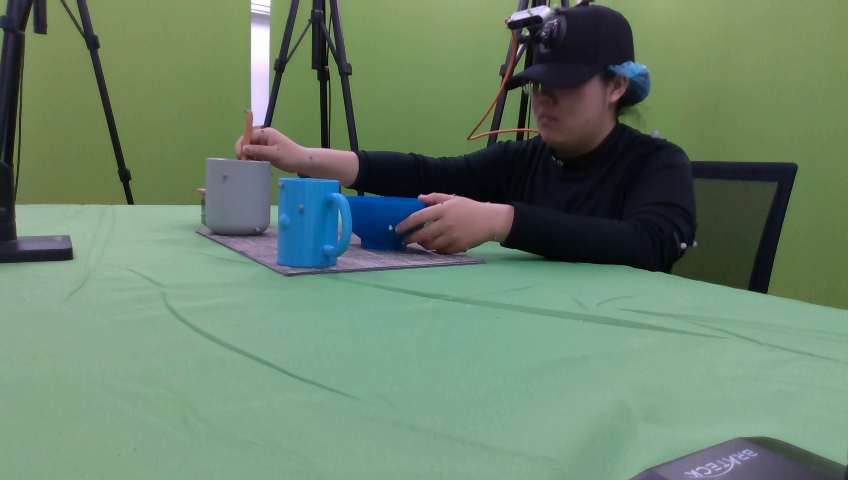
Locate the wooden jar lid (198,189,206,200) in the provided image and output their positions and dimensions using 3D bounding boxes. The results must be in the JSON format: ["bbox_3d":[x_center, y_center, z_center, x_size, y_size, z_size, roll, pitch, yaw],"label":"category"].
[{"bbox_3d":[-0.382,-0.088,1.175,0.108,0.020,0.108,3,8,0],"label":"wooden jar lid"}]

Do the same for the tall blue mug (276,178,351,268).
[{"bbox_3d":[-0.134,-0.022,0.766,0.107,0.108,0.078,4,6,12],"label":"tall blue mug"}]

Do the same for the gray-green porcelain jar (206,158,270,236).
[{"bbox_3d":[-0.316,-0.074,1.031,0.106,0.126,0.106,3,7,0],"label":"gray-green porcelain jar"}]

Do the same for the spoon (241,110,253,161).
[{"bbox_3d":[-0.317,-0.130,1.053,0.042,0.193,0.021,10,3,-31],"label":"spoon"}]

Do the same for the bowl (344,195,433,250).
[{"bbox_3d":[-0.062,-0.027,0.955,0.151,0.077,0.151,3,7,0],"label":"bowl"}]
